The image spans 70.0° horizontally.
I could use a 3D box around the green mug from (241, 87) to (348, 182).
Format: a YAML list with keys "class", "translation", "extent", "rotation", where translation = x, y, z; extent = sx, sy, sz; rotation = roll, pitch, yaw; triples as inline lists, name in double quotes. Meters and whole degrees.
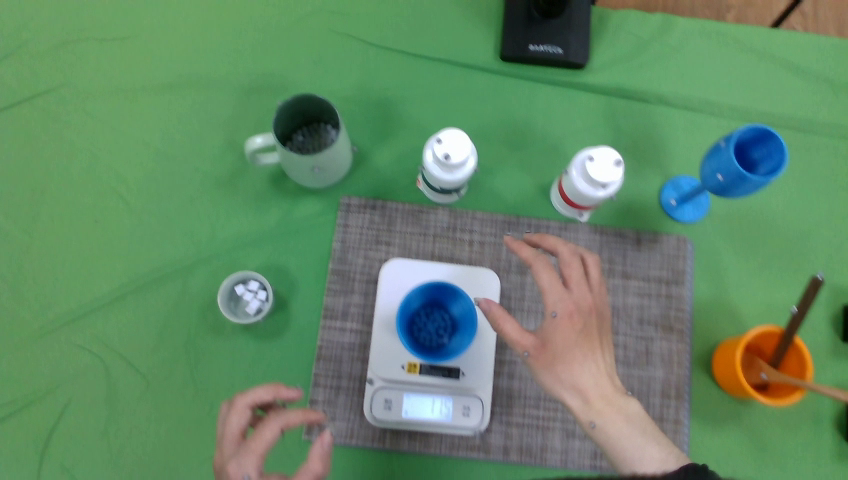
- class: "green mug"
  translation: [-0.156, -0.120, 0.728]
  extent: [0.125, 0.105, 0.092]
  rotation: [-15, 79, -6]

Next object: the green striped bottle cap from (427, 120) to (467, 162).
- class: "green striped bottle cap"
  translation: [0.026, -0.110, 0.672]
  extent: [0.044, 0.020, 0.044]
  rotation: [1, 77, -2]

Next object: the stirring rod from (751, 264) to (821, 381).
- class: "stirring rod"
  translation: [0.412, 0.100, 0.694]
  extent: [0.014, 0.177, 0.006]
  rotation: [12, 37, 12]

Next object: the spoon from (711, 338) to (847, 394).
- class: "spoon"
  translation: [0.425, 0.153, 0.683]
  extent: [0.022, 0.192, 0.041]
  rotation: [26, 82, -42]

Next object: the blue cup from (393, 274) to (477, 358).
- class: "blue cup"
  translation: [0.009, 0.085, 0.661]
  extent: [0.093, 0.100, 0.092]
  rotation: [1, 80, -3]

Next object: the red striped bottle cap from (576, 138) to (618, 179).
- class: "red striped bottle cap"
  translation: [0.195, -0.092, 0.680]
  extent: [0.044, 0.018, 0.044]
  rotation: [1, 75, -3]

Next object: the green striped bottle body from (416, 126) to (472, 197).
- class: "green striped bottle body"
  translation: [0.023, -0.097, 0.726]
  extent: [0.063, 0.119, 0.063]
  rotation: [1, 78, -3]

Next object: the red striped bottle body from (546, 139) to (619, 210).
- class: "red striped bottle body"
  translation: [0.193, -0.080, 0.733]
  extent: [0.063, 0.120, 0.063]
  rotation: [1, 78, -3]

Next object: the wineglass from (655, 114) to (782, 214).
- class: "wineglass"
  translation: [0.339, -0.084, 0.715]
  extent: [0.074, 0.173, 0.073]
  rotation: [1, 77, -2]

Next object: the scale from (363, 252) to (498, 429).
- class: "scale"
  translation: [0.010, 0.118, 0.721]
  extent: [0.149, 0.031, 0.200]
  rotation: [6, 78, -2]

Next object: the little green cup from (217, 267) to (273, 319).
- class: "little green cup"
  translation: [-0.209, 0.065, 0.719]
  extent: [0.061, 0.039, 0.061]
  rotation: [1, 78, -4]
